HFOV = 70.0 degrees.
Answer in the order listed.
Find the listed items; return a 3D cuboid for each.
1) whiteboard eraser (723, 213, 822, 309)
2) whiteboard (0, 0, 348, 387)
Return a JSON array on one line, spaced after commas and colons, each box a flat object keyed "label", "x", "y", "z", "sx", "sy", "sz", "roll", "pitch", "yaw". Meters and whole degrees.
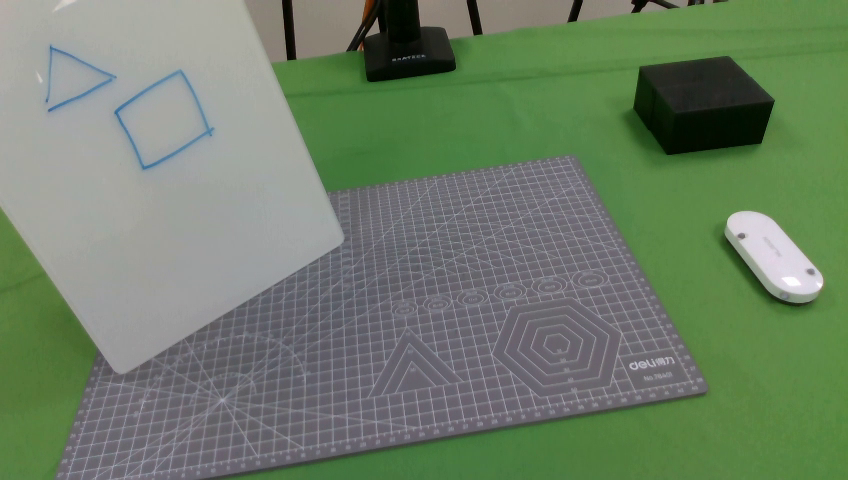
[{"label": "whiteboard eraser", "x": 0.283, "y": 0.014, "z": 0.496, "sx": 0.041, "sy": 0.019, "sz": 0.100, "roll": -8, "pitch": 43, "yaw": -3}, {"label": "whiteboard", "x": -0.236, "y": -0.082, "z": 0.500, "sx": 0.217, "sy": 0.308, "sz": 0.142, "roll": -33, "pitch": 28, "yaw": -25}]
